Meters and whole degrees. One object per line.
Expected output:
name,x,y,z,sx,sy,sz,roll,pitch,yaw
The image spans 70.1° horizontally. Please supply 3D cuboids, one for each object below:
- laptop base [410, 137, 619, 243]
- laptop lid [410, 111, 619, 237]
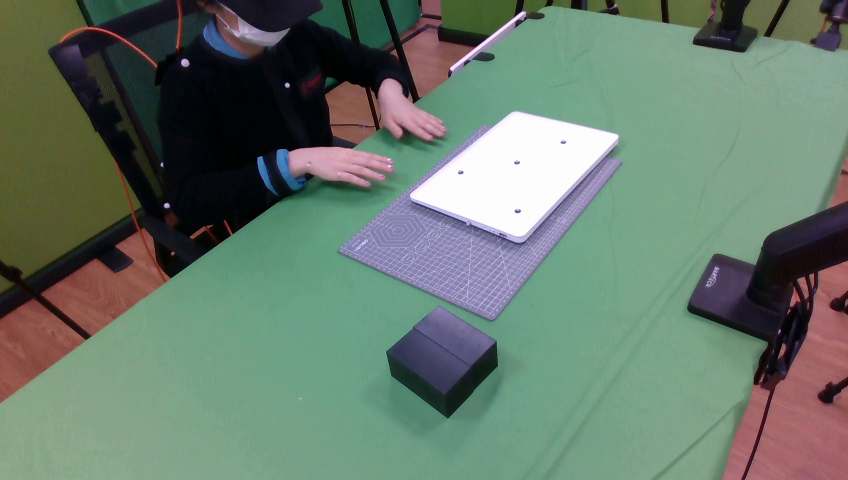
laptop base,0.171,-0.126,1.096,0.233,0.023,0.355,21,47,33
laptop lid,0.168,-0.136,1.089,0.239,0.013,0.358,23,48,34
